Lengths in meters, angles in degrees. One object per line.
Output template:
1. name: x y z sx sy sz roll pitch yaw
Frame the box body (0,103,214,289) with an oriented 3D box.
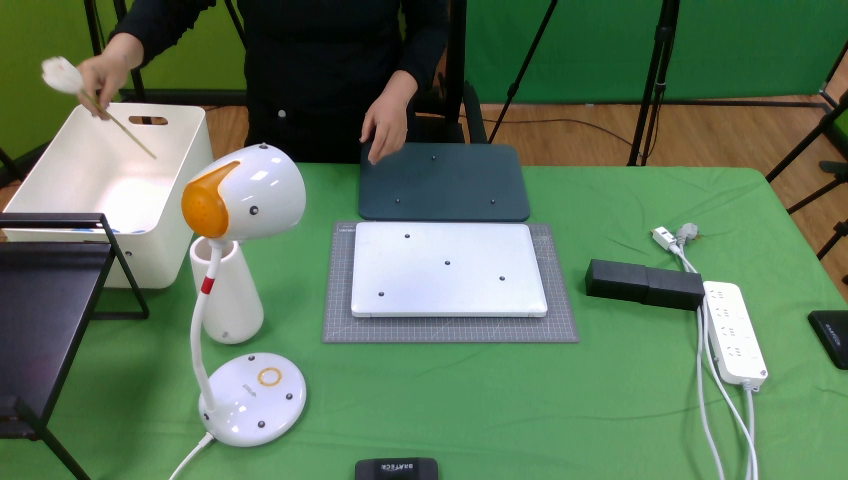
1. box body: -0.563 -0.087 1.140 0.254 0.161 0.361 2 46 -3

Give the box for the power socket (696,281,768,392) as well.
1. power socket: 0.543 0.161 1.077 0.072 0.033 0.225 5 46 2

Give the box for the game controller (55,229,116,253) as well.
1. game controller: -0.597 0.010 1.116 0.155 0.052 0.096 2 48 -1

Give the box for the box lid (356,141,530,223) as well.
1. box lid: 0.040 -0.132 1.339 0.372 0.015 0.261 0 46 -4

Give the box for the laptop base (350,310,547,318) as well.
1. laptop base: 0.041 0.056 1.149 0.355 0.023 0.234 0 42 -4

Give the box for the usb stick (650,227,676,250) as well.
1. usb stick: 0.485 -0.007 1.238 0.021 0.027 0.059 -23 44 -13

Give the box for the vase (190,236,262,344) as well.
1. vase: -0.317 0.081 0.971 0.098 0.201 0.097 3 47 -3

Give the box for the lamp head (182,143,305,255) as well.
1. lamp head: -0.216 -0.044 0.697 0.112 0.113 0.123 23 31 17

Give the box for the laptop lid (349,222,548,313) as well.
1. laptop lid: 0.042 0.046 1.142 0.357 0.013 0.240 2 44 -3

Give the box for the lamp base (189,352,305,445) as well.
1. lamp base: -0.268 0.196 0.876 0.160 0.181 0.179 25 52 20

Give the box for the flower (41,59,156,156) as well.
1. flower: -0.536 -0.208 1.040 0.038 0.362 0.044 27 79 4

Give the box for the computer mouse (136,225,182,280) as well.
1. computer mouse: -0.488 0.020 1.117 0.063 0.041 0.116 1 55 -6

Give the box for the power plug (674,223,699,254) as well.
1. power plug: 0.537 0.000 1.244 0.053 0.035 0.072 19 84 -17
